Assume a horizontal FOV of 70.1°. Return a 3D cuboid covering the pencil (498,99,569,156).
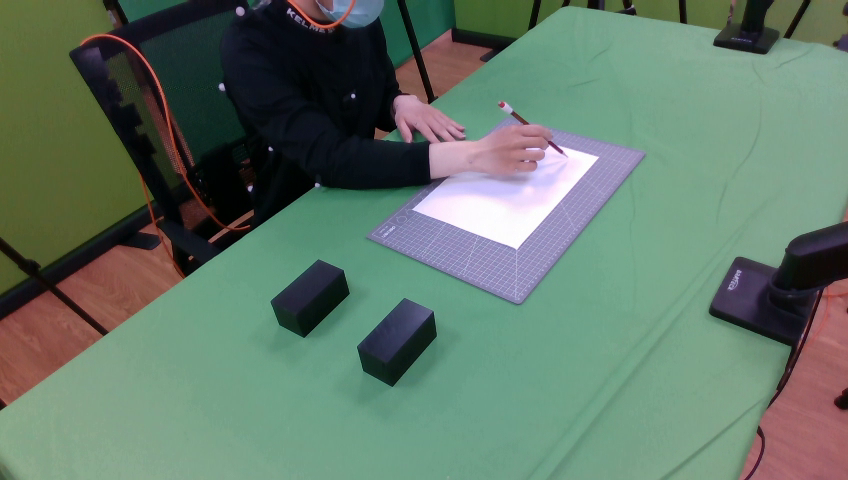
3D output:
[{"bbox_3d":[0.196,-0.193,1.057,0.012,0.196,0.012,-30,46,37],"label":"pencil"}]
